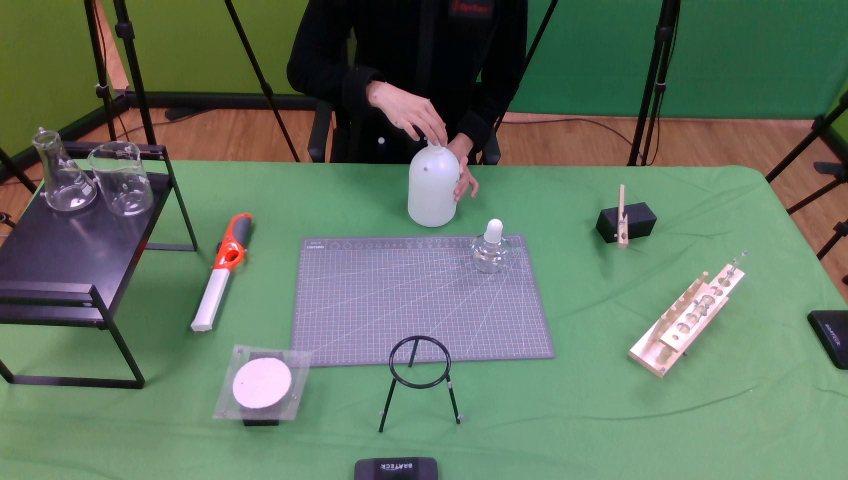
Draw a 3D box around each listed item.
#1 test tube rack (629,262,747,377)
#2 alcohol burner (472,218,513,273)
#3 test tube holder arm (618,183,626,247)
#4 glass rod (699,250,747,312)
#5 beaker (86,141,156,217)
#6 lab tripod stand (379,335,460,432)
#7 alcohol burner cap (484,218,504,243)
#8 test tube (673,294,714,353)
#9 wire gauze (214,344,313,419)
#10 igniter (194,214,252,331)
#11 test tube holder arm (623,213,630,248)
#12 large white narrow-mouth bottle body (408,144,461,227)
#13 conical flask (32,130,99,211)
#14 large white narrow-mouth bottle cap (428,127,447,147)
[{"bbox_3d":[0.464,0.126,1.061,0.242,0.085,0.066,-34,56,-31],"label":"test tube rack"},{"bbox_3d":[0.128,0.005,1.132,0.078,0.120,0.077,0,47,0],"label":"alcohol burner"},{"bbox_3d":[0.395,-0.053,1.210,0.013,0.015,0.177,14,47,0],"label":"test tube holder arm"},{"bbox_3d":[0.500,0.075,1.021,0.008,0.201,0.008,0,55,0],"label":"glass rod"},{"bbox_3d":[-0.467,-0.093,0.950,0.084,0.101,0.073,15,47,11],"label":"beaker"},{"bbox_3d":[-0.011,0.214,0.911,0.148,0.132,0.147,1,45,0],"label":"lab tripod stand"},{"bbox_3d":[0.130,-0.021,1.106,0.034,0.048,0.033,3,51,-3],"label":"alcohol burner cap"},{"bbox_3d":[0.428,0.137,0.978,0.017,0.151,0.017,4,47,-4],"label":"test tube"},{"bbox_3d":[-0.241,0.213,0.916,0.121,0.011,0.124,5,46,1],"label":"wire gauze"},{"bbox_3d":[-0.367,0.050,1.119,0.057,0.025,0.275,-4,45,7],"label":"igniter"},{"bbox_3d":[0.393,-0.020,1.179,0.010,0.015,0.087,14,47,0],"label":"test tube holder arm"},{"bbox_3d":[0.021,-0.124,1.198,0.102,0.195,0.101,2,46,-2],"label":"large white narrow-mouth bottle body"},{"bbox_3d":[-0.565,-0.111,0.944,0.075,0.122,0.075,2,46,-2],"label":"conical flask"},{"bbox_3d":[0.025,-0.191,1.127,0.038,0.024,0.037,2,46,-2],"label":"large white narrow-mouth bottle cap"}]
